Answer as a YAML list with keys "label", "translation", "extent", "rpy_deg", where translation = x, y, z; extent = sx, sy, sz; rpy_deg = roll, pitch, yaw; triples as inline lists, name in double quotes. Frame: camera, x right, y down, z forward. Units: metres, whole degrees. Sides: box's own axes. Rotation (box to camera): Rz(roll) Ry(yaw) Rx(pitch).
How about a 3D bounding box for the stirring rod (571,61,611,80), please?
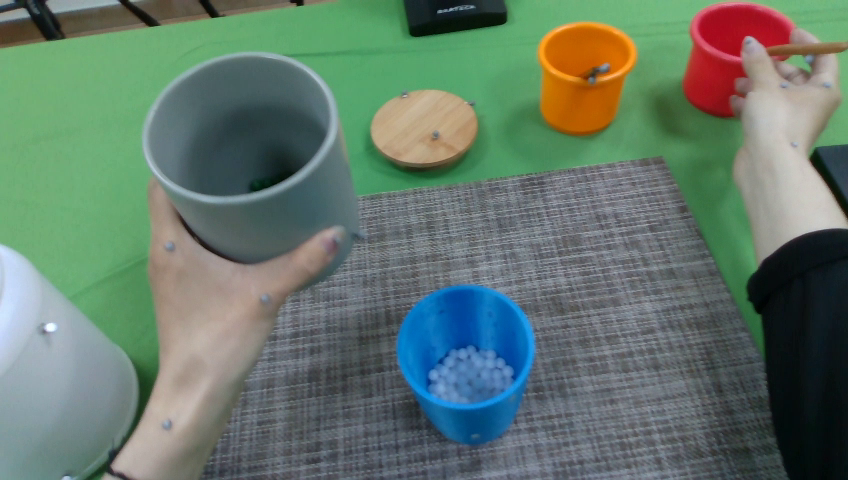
- label: "stirring rod"
  translation: [0.151, -0.155, 0.558]
  extent: [0.014, 0.006, 0.175]
  rpy_deg: [-3, 11, 8]

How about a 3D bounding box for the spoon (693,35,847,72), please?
- label: "spoon"
  translation: [0.308, -0.171, 0.549]
  extent: [0.041, 0.022, 0.193]
  rpy_deg: [-14, 10, -4]

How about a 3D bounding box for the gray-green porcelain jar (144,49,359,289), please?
- label: "gray-green porcelain jar"
  translation: [-0.097, -0.035, 0.380]
  extent: [0.106, 0.127, 0.105]
  rpy_deg: [0, 61, 0]

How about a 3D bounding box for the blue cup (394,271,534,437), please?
- label: "blue cup"
  translation: [0.030, 0.089, 0.410]
  extent: [0.092, 0.101, 0.092]
  rpy_deg: [-4, 55, 6]

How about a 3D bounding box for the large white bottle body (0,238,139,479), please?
- label: "large white bottle body"
  translation: [-0.291, 0.078, 0.397]
  extent: [0.130, 0.186, 0.129]
  rpy_deg: [-2, 54, 4]

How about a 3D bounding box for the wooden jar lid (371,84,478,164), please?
- label: "wooden jar lid"
  translation: [0.001, -0.117, 0.615]
  extent: [0.108, 0.021, 0.107]
  rpy_deg: [-2, 53, 3]
